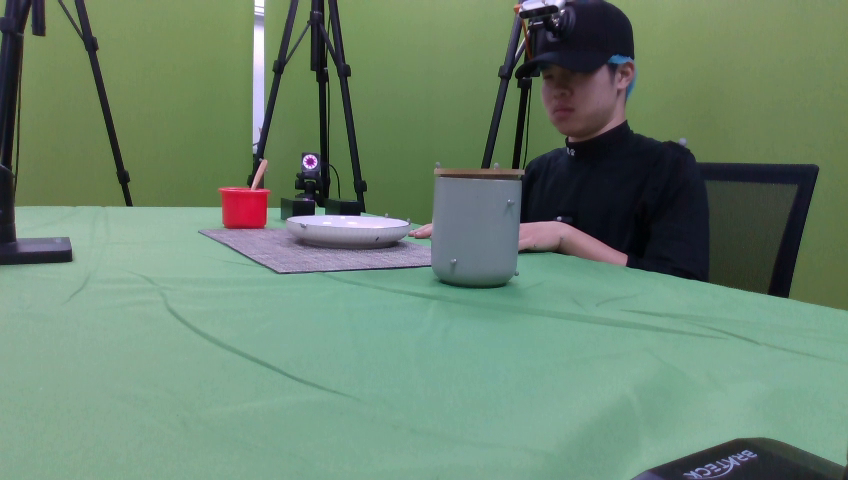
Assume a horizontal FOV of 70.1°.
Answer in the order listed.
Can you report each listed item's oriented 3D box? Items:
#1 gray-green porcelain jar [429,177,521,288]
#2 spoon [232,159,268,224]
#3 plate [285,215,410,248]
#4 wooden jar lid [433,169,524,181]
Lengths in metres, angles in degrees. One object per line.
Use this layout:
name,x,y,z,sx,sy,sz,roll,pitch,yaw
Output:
gray-green porcelain jar,0.060,-0.011,0.725,0.106,0.126,0.106,2,7,0
spoon,-0.343,-0.101,1.218,0.041,0.021,0.193,4,51,4
plate,-0.127,-0.015,1.012,0.208,0.039,0.207,3,7,0
wooden jar lid,0.064,-0.074,0.717,0.108,0.020,0.108,0,5,0
